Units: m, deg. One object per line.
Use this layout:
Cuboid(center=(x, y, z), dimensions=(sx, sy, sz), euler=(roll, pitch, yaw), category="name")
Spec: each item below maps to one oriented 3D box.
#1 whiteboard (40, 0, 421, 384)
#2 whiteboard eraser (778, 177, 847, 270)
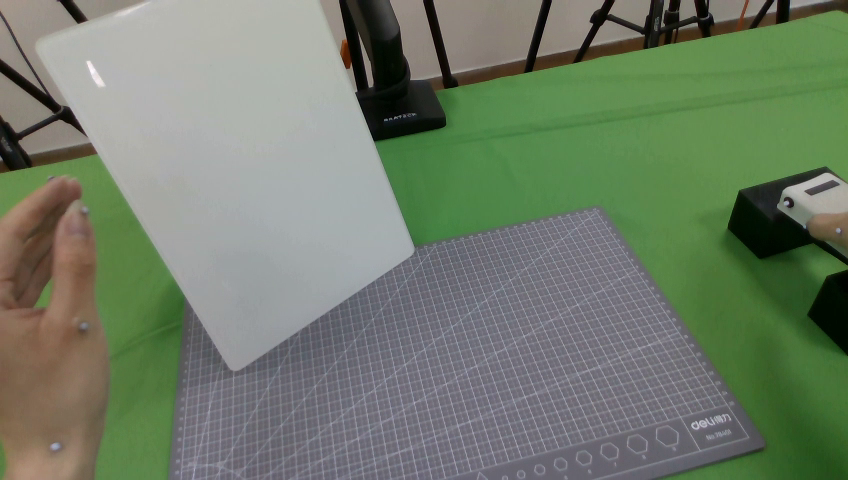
Cuboid(center=(-0.171, -0.066, 0.576), dimensions=(0.217, 0.308, 0.142), euler=(-33, 28, -25), category="whiteboard")
Cuboid(center=(0.367, -0.008, 0.519), dimensions=(0.055, 0.042, 0.111), euler=(-23, 40, -4), category="whiteboard eraser")
